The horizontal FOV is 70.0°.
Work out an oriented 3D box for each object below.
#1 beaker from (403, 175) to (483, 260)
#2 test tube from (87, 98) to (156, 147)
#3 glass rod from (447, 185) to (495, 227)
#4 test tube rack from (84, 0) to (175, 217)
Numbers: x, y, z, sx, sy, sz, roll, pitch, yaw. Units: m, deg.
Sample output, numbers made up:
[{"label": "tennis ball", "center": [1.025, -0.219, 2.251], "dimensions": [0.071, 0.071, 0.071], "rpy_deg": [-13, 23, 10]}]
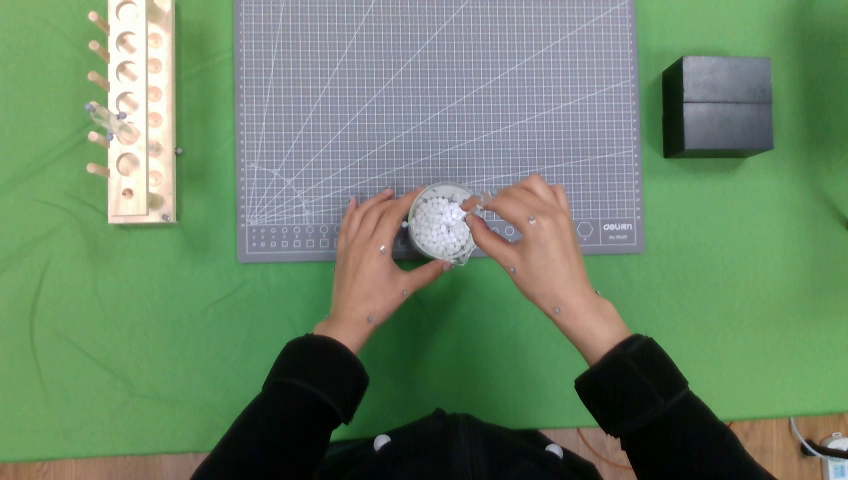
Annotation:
[{"label": "beaker", "center": [0.017, -0.018, 0.620], "dimensions": [0.074, 0.100, 0.084], "rpy_deg": [-20, 89, -5]}, {"label": "test tube", "center": [-0.275, -0.105, 0.560], "dimensions": [0.017, 0.150, 0.017], "rpy_deg": [0, 88, -9]}, {"label": "glass rod", "center": [0.039, -0.029, 0.558], "dimensions": [0.008, 0.200, 0.008], "rpy_deg": [1, 83, -7]}, {"label": "test tube rack", "center": [-0.300, -0.148, 0.610], "dimensions": [0.067, 0.085, 0.242], "rpy_deg": [-1, 88, -4]}]
